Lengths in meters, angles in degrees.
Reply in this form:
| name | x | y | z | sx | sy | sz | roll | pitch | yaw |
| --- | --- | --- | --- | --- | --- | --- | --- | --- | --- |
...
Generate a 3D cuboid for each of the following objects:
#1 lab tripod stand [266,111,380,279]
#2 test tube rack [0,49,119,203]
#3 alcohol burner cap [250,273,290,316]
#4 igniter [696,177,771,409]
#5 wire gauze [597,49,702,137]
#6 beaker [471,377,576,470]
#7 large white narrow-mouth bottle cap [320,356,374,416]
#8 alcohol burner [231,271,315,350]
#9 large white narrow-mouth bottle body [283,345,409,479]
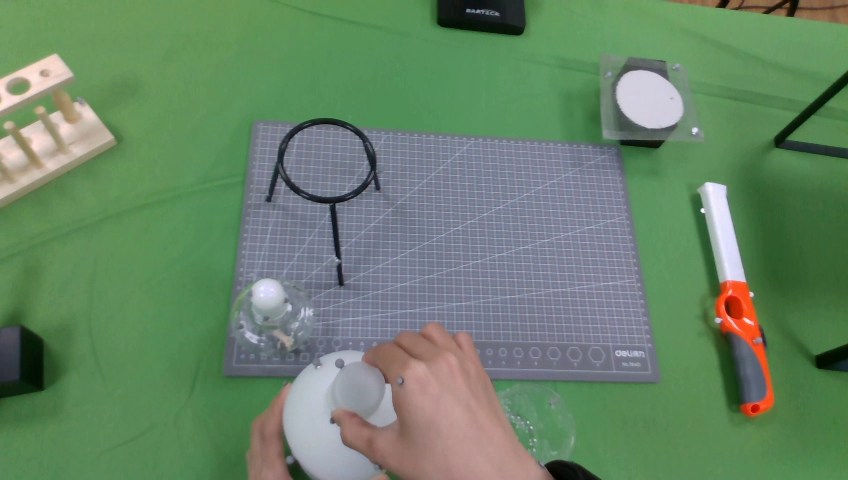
| name | x | y | z | sx | sy | sz | roll | pitch | yaw |
| --- | --- | --- | --- | --- | --- | --- | --- | --- | --- |
| lab tripod stand | -0.094 | -0.050 | 0.607 | 0.149 | 0.132 | 0.147 | 4 | 66 | -9 |
| test tube rack | -0.444 | -0.085 | 0.598 | 0.242 | 0.085 | 0.066 | -37 | 76 | -21 |
| alcohol burner cap | -0.136 | 0.047 | 0.529 | 0.034 | 0.048 | 0.033 | 2 | 71 | -7 |
| igniter | 0.351 | 0.052 | 0.691 | 0.057 | 0.025 | 0.274 | 8 | 65 | -17 |
| wire gauze | 0.272 | -0.178 | 0.738 | 0.122 | 0.011 | 0.124 | 4 | 66 | -7 |
| beaker | 0.083 | 0.172 | 0.559 | 0.084 | 0.101 | 0.073 | 29 | 65 | 6 |
| large white narrow-mouth bottle cap | -0.052 | 0.097 | 0.403 | 0.038 | 0.024 | 0.037 | 3 | 66 | -7 |
| alcohol burner | -0.141 | 0.060 | 0.562 | 0.078 | 0.119 | 0.077 | 4 | 64 | -9 |
| large white narrow-mouth bottle body | -0.063 | 0.141 | 0.497 | 0.102 | 0.195 | 0.101 | 3 | 65 | -6 |
